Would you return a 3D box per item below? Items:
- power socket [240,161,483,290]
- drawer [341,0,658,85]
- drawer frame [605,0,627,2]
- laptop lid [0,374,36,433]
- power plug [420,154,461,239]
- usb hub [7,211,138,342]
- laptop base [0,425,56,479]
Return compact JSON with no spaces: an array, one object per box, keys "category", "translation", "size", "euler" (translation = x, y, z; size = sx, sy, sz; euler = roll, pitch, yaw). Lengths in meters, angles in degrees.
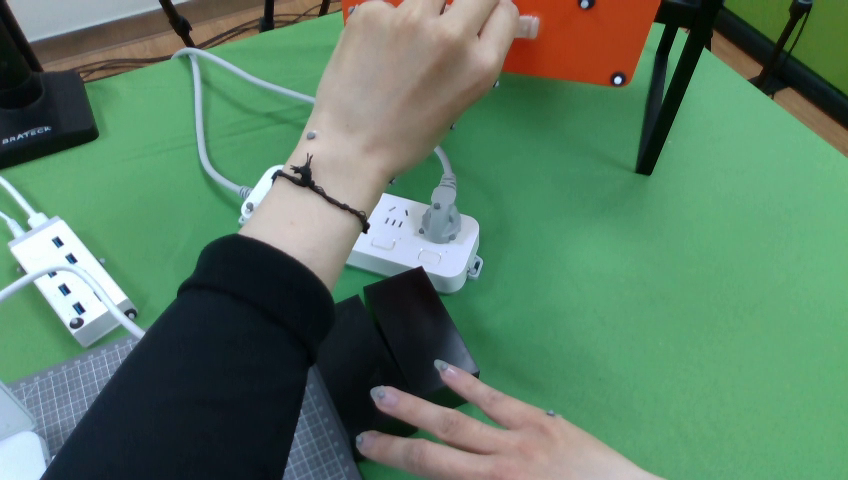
[{"category":"power socket","translation":[-0.057,-0.016,0.543],"size":[0.226,0.033,0.072],"euler":[16,54,11]},{"category":"drawer","translation":[0.061,-0.216,0.441],"size":[0.194,0.074,0.210],"euler":[10,53,6]},{"category":"drawer frame","translation":[0.078,-0.296,0.499],"size":[0.201,0.083,0.212],"euler":[7,53,5]},{"category":"laptop lid","translation":[-0.440,0.111,0.304],"size":[0.357,0.244,0.013],"euler":[-26,44,-17]},{"category":"power plug","translation":[0.023,-0.031,0.528],"size":[0.035,0.053,0.072],"euler":[25,58,18]},{"category":"usb hub","translation":[-0.298,0.028,0.510],"size":[0.124,0.025,0.049],"euler":[39,62,24]},{"category":"laptop base","translation":[-0.367,0.281,0.324],"size":[0.355,0.023,0.233],"euler":[-25,61,-18]}]
